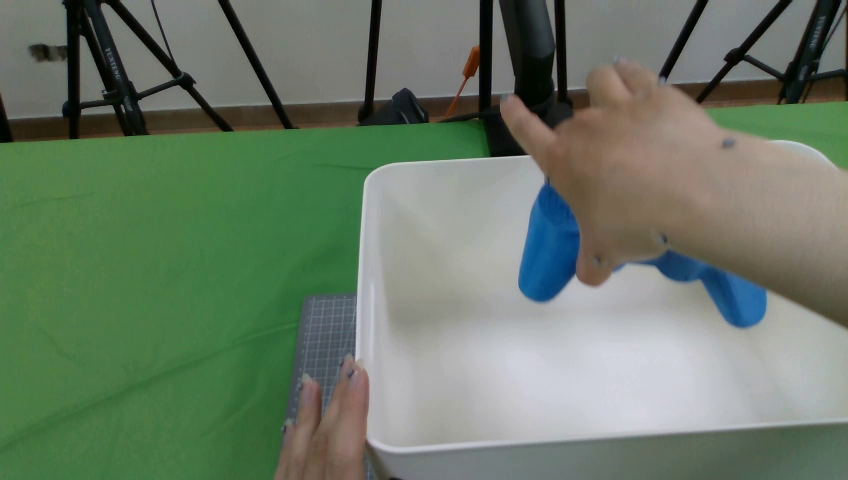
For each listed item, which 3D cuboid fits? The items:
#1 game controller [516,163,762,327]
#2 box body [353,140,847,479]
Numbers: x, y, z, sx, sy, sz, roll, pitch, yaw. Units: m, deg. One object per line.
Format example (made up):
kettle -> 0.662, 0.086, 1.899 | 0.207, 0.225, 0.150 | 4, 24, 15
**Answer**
game controller -> 0.141, -0.002, 0.393 | 0.155, 0.052, 0.096 | 7, 59, 3
box body -> 0.140, 0.070, 0.449 | 0.364, 0.162, 0.251 | -4, 42, -1
